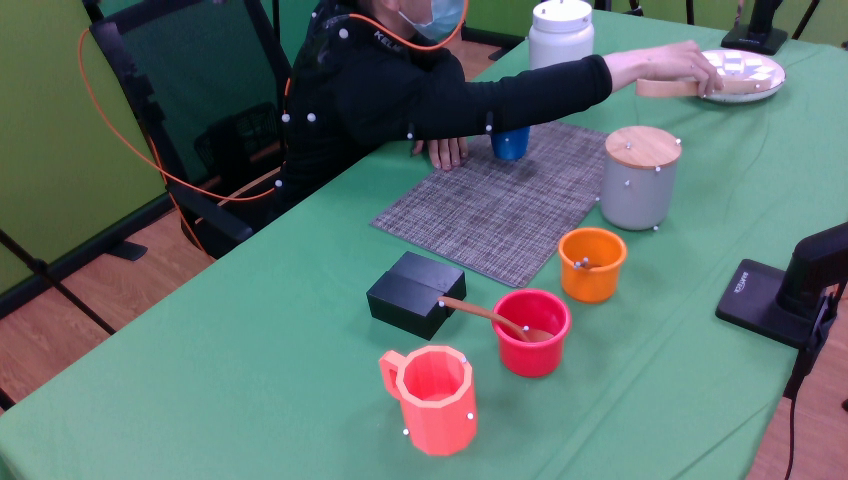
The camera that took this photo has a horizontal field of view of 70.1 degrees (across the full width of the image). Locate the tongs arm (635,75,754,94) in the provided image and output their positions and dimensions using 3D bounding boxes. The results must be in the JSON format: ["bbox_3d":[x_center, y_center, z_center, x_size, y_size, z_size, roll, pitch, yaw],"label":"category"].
[{"bbox_3d":[0.519,-0.290,1.121,0.387,0.026,0.050,-9,23,-30],"label":"tongs arm"}]

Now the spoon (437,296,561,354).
[{"bbox_3d":[0.096,0.102,0.750,0.195,0.021,0.041,28,31,-28],"label":"spoon"}]

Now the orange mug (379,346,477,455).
[{"bbox_3d":[0.002,0.179,0.708,0.125,0.101,0.083,25,50,27],"label":"orange mug"}]

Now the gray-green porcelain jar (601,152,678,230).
[{"bbox_3d":[0.335,-0.087,0.949,0.106,0.127,0.105,-4,40,4],"label":"gray-green porcelain jar"}]

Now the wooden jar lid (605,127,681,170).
[{"bbox_3d":[0.328,-0.134,0.909,0.108,0.021,0.108,-2,43,2],"label":"wooden jar lid"}]

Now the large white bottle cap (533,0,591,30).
[{"bbox_3d":[0.275,-0.449,1.204,0.115,0.018,0.114,-4,41,4],"label":"large white bottle cap"}]

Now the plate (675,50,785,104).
[{"bbox_3d":[0.632,-0.335,1.262,0.207,0.039,0.206,-4,41,4],"label":"plate"}]

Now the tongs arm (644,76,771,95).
[{"bbox_3d":[0.532,-0.284,1.103,0.390,0.028,0.028,-11,28,-34],"label":"tongs arm"}]

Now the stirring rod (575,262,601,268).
[{"bbox_3d":[0.223,0.034,0.816,0.014,0.006,0.177,8,1,22],"label":"stirring rod"}]

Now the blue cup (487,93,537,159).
[{"bbox_3d":[0.161,-0.209,1.129,0.092,0.100,0.092,-3,39,3],"label":"blue cup"}]

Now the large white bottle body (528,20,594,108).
[{"bbox_3d":[0.284,-0.385,1.259,0.130,0.185,0.130,-4,41,4],"label":"large white bottle body"}]
